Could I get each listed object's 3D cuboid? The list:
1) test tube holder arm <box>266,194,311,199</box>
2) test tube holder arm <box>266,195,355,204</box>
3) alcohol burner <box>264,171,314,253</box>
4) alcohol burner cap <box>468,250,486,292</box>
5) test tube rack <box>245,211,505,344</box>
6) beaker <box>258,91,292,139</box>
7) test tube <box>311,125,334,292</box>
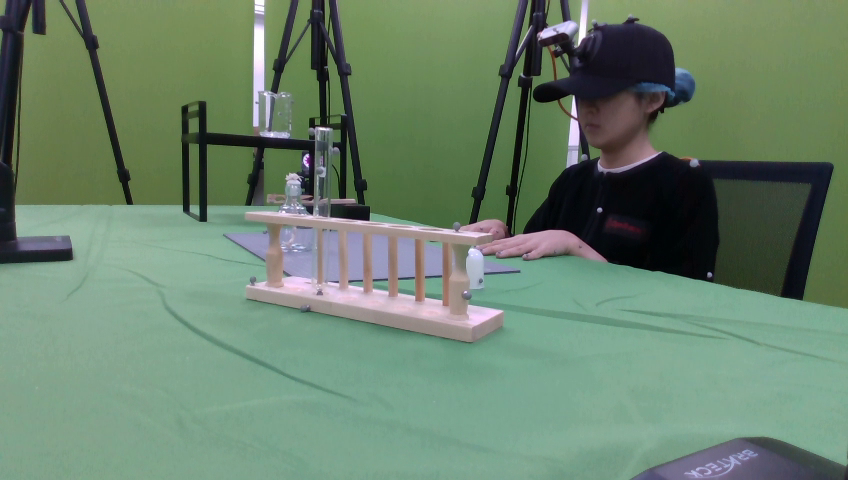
[{"bbox_3d":[-0.262,-0.084,1.173,0.088,0.010,0.015,-3,2,-30],"label":"test tube holder arm"},{"bbox_3d":[-0.222,-0.081,1.196,0.179,0.013,0.015,-4,2,-30],"label":"test tube holder arm"},{"bbox_3d":[-0.194,-0.042,0.888,0.078,0.119,0.078,3,5,0],"label":"alcohol burner"},{"bbox_3d":[0.056,0.035,0.690,0.034,0.048,0.034,2,7,0],"label":"alcohol burner cap"},{"bbox_3d":[-0.049,0.025,0.547,0.241,0.085,0.067,7,8,29],"label":"test tube rack"},{"bbox_3d":[-0.331,-0.276,1.343,0.074,0.100,0.083,0,8,-20],"label":"beaker"},{"bbox_3d":[-0.092,-0.027,0.543,0.017,0.150,0.017,4,9,0],"label":"test tube"}]
